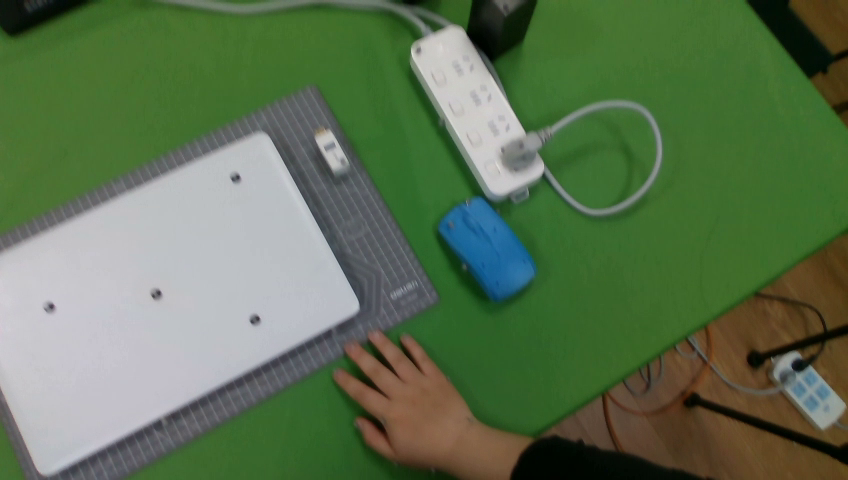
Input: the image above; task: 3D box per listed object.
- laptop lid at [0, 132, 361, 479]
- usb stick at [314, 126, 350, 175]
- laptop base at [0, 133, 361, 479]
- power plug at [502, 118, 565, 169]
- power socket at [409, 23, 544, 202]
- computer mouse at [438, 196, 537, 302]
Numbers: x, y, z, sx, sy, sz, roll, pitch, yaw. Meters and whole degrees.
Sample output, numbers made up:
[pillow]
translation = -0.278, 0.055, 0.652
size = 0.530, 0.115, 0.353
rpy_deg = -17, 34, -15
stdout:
[laptop lid]
translation = -0.272, 0.059, 0.631
size = 0.357, 0.013, 0.241
rpy_deg = -27, 83, -7
[usb stick]
translation = -0.106, -0.104, 0.677
size = 0.021, 0.027, 0.059
rpy_deg = -29, 79, -4
[laptop base]
translation = -0.273, 0.060, 0.642
size = 0.354, 0.023, 0.235
rpy_deg = -29, 84, -8
[power plug]
translation = 0.121, -0.101, 0.665
size = 0.072, 0.053, 0.035
rpy_deg = -17, 81, -7
[power socket]
translation = 0.058, -0.147, 0.693
size = 0.072, 0.033, 0.226
rpy_deg = -27, 81, -7
[computer mouse]
translation = 0.068, 0.008, 0.658
size = 0.063, 0.041, 0.116
rpy_deg = -34, 77, -6
